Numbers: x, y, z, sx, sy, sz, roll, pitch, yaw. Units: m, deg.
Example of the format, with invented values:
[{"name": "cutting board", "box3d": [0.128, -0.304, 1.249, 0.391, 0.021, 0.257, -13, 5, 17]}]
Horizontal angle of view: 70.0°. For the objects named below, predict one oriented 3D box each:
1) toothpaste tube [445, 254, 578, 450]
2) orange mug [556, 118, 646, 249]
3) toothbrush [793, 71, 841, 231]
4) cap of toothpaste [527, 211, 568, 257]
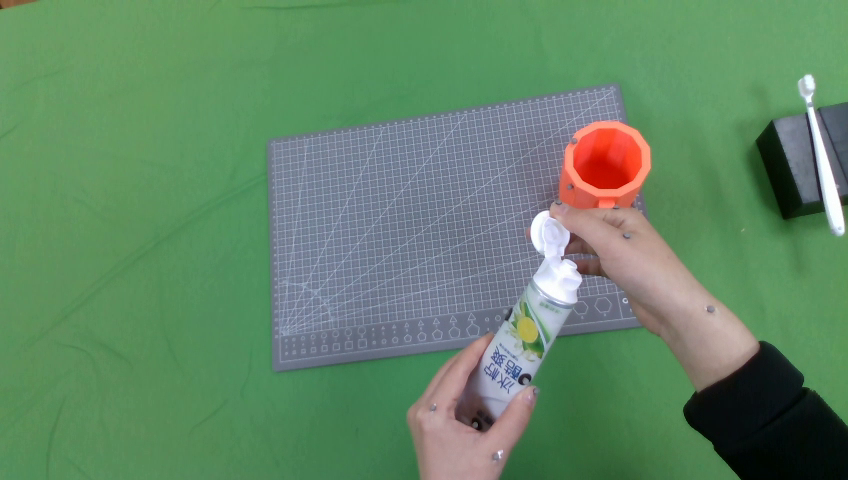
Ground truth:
[{"name": "toothpaste tube", "box3d": [0.065, 0.080, 0.450, 0.054, 0.035, 0.165, 41, 117, 34]}, {"name": "orange mug", "box3d": [0.190, -0.057, 0.659, 0.083, 0.101, 0.125, 0, 69, 8]}, {"name": "toothbrush", "box3d": [0.412, -0.096, 0.634, 0.014, 0.017, 0.181, -3, 74, 4]}, {"name": "cap of toothpaste", "box3d": [0.091, -0.004, 0.436, 0.037, 0.011, 0.037, 3, 83, -29]}]
